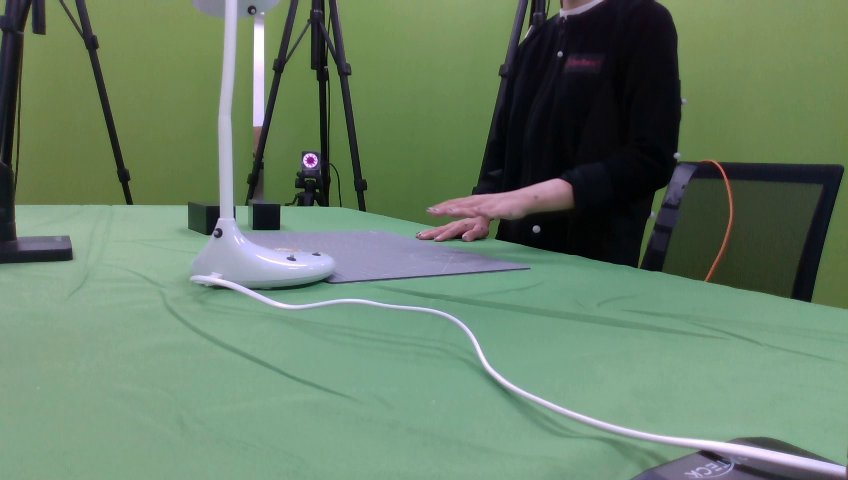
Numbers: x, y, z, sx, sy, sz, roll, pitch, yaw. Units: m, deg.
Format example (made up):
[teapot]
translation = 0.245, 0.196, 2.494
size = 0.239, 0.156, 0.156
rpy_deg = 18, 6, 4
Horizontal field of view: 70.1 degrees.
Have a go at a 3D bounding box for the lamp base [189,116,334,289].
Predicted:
[lamp base]
translation = -0.185, -0.044, 0.669
size = 0.160, 0.180, 0.179
rpy_deg = 3, 10, 14

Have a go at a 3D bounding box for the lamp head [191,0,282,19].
[lamp head]
translation = -0.222, -0.330, 0.689
size = 0.112, 0.112, 0.123
rpy_deg = 3, -33, -4
